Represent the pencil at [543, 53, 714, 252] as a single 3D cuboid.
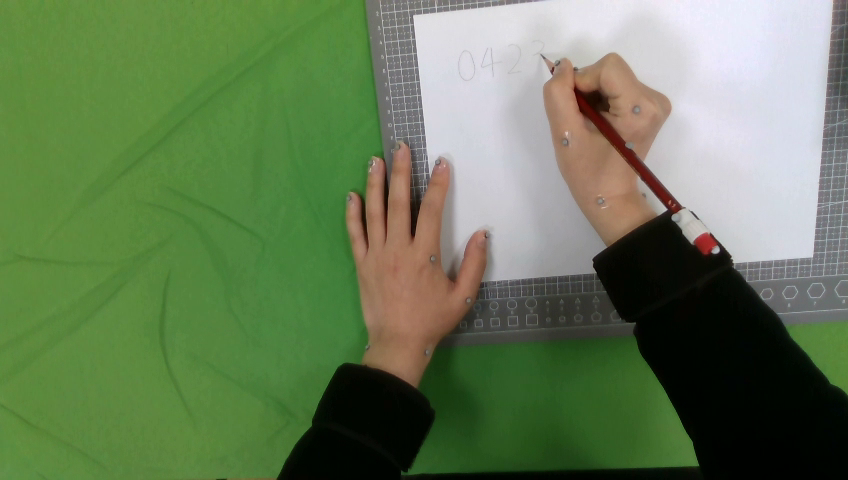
[{"bbox_3d":[0.124,-0.067,0.394,0.012,0.192,0.012,-18,146,-13],"label":"pencil"}]
